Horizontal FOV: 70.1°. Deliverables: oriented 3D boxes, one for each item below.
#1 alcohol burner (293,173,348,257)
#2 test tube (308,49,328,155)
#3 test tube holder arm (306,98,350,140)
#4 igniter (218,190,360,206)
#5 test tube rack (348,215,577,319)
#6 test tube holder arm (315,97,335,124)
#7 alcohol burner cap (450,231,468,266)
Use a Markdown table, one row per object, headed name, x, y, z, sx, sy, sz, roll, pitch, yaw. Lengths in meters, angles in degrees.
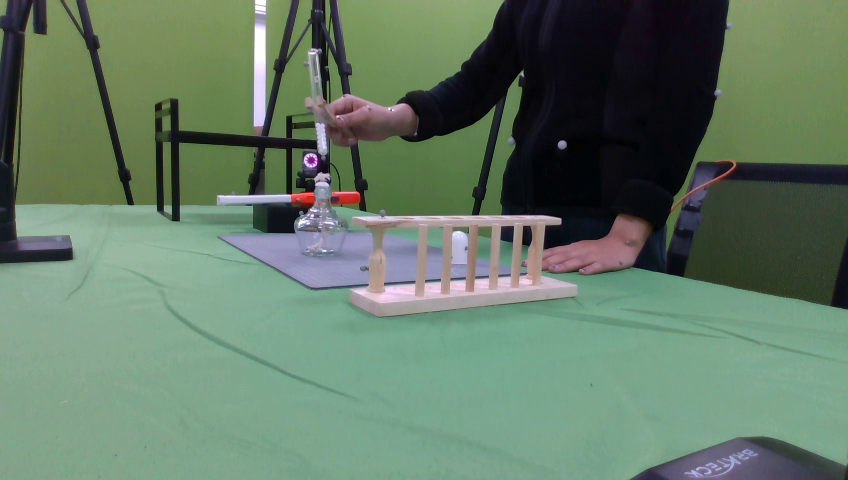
| name | x | y | z | sx | sy | sz | roll | pitch | yaw |
| --- | --- | --- | --- | --- | --- | --- | --- | --- | --- |
| alcohol burner | -0.146 | -0.036 | 0.859 | 0.078 | 0.119 | 0.078 | 4 | 8 | 0 |
| test tube | -0.149 | -0.193 | 0.849 | 0.017 | 0.150 | 0.017 | -6 | -3 | 0 |
| test tube holder arm | -0.142 | -0.180 | 0.916 | 0.013 | 0.015 | 0.179 | -1 | -6 | 9 |
| igniter | -0.247 | -0.080 | 1.150 | 0.278 | 0.025 | 0.057 | -5 | 8 | -29 |
| test tube rack | 0.048 | 0.021 | 0.619 | 0.244 | 0.085 | 0.066 | -2 | 9 | -31 |
| test tube holder arm | -0.142 | -0.185 | 0.871 | 0.010 | 0.015 | 0.088 | -1 | -6 | 3 |
| alcohol burner cap | 0.046 | 0.012 | 0.839 | 0.034 | 0.048 | 0.034 | 3 | 5 | 0 |
